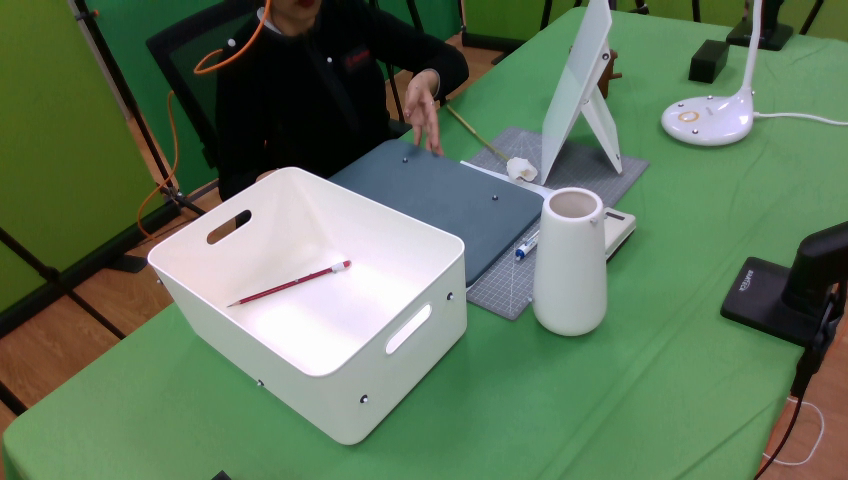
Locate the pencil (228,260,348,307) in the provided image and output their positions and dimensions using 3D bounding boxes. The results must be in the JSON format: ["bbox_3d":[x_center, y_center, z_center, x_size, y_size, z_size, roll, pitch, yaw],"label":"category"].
[{"bbox_3d":[-0.210,0.068,0.942,0.194,0.012,0.012,-20,42,-12],"label":"pencil"}]

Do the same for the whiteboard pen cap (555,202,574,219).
[{"bbox_3d":[0.230,-0.048,0.994,0.018,0.018,0.033,26,54,34],"label":"whiteboard pen cap"}]

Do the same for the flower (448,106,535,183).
[{"bbox_3d":[0.118,-0.202,1.200,0.044,0.038,0.358,-24,38,-8],"label":"flower"}]

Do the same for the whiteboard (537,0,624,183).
[{"bbox_3d":[0.316,-0.256,1.047,0.144,0.306,0.216,15,42,-1],"label":"whiteboard"}]

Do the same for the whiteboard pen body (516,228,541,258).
[{"bbox_3d":[0.192,-0.015,0.964,0.017,0.017,0.141,26,51,34],"label":"whiteboard pen body"}]

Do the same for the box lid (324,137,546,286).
[{"bbox_3d":[-0.005,-0.066,1.043,0.368,0.015,0.264,27,50,29],"label":"box lid"}]

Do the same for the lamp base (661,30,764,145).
[{"bbox_3d":[0.535,-0.287,1.096,0.179,0.181,0.159,-10,40,-4],"label":"lamp base"}]

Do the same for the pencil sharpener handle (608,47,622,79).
[{"bbox_3d":[0.395,-0.369,1.254,0.031,0.068,0.036,-10,32,-1],"label":"pencil sharpener handle"}]

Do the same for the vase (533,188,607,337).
[{"bbox_3d":[0.187,0.033,0.771,0.098,0.201,0.097,-6,41,6],"label":"vase"}]

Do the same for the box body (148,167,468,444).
[{"bbox_3d":[-0.147,0.072,0.816,0.361,0.161,0.255,24,50,33],"label":"box body"}]

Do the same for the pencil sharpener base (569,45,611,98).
[{"bbox_3d":[0.346,-0.352,1.262,0.077,0.107,0.061,-10,40,-1],"label":"pencil sharpener base"}]

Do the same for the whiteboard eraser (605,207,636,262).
[{"bbox_3d":[0.272,-0.003,0.919,0.055,0.042,0.113,27,51,32],"label":"whiteboard eraser"}]
